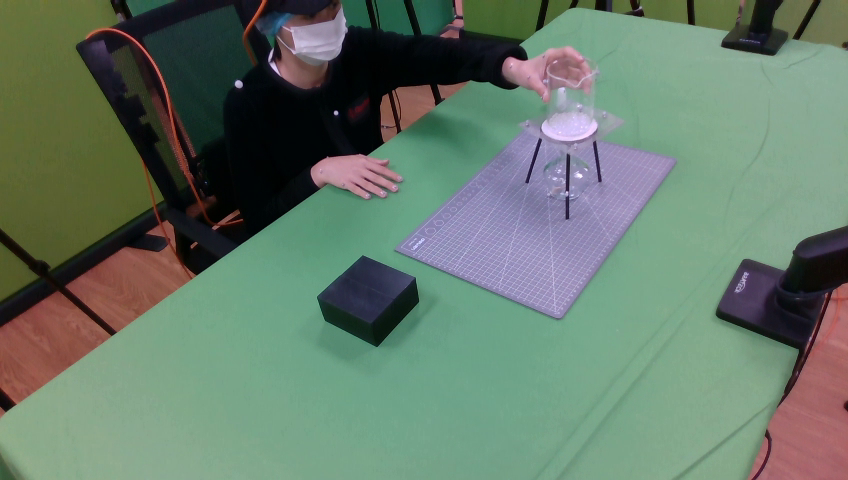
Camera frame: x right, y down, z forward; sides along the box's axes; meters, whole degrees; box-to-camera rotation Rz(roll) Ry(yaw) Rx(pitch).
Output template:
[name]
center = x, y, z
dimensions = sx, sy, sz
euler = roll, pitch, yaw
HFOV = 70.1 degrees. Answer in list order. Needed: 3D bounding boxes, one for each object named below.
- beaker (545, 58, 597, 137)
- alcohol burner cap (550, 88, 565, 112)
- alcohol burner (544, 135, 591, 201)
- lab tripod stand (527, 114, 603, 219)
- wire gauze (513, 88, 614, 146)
[beaker]
center = 0.225, -0.215, 0.927
dimensions = 0.074, 0.101, 0.083
euler = -5, 40, 5
[alcohol burner cap]
center = 0.281, -0.296, 1.271
dimensions = 0.034, 0.048, 0.033
euler = -5, 41, 4
[alcohol burner]
center = 0.240, -0.125, 1.012
dimensions = 0.078, 0.119, 0.077
euler = -5, 42, 5
[lab tripod stand]
center = 0.234, -0.129, 1.002
dimensions = 0.148, 0.132, 0.147
euler = -6, 40, 6
[wire gauze]
center = 0.220, -0.193, 0.952
dimensions = 0.120, 0.011, 0.125
euler = 22, 53, 27
